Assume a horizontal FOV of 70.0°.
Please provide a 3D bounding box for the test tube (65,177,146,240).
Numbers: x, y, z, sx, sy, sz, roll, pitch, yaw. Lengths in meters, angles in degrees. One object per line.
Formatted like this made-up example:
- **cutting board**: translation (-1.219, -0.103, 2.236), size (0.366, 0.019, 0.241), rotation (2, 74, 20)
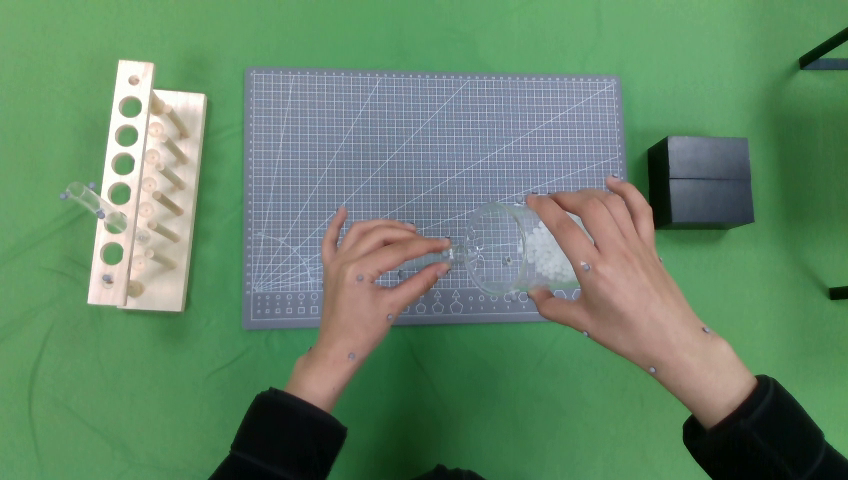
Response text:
- **test tube**: translation (-0.296, -0.026, 0.573), size (0.017, 0.151, 0.017), rotation (1, 75, -4)

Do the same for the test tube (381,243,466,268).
- **test tube**: translation (-0.005, 0.016, 0.570), size (0.017, 0.150, 0.017), rotation (2, 84, -28)

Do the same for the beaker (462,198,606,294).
- **beaker**: translation (0.091, 0.005, 0.499), size (0.101, 0.083, 0.074), rotation (-1, 84, -33)

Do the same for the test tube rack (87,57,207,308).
- **test tube rack**: translation (-0.282, -0.054, 0.628), size (0.067, 0.085, 0.241), rotation (4, 82, -6)
